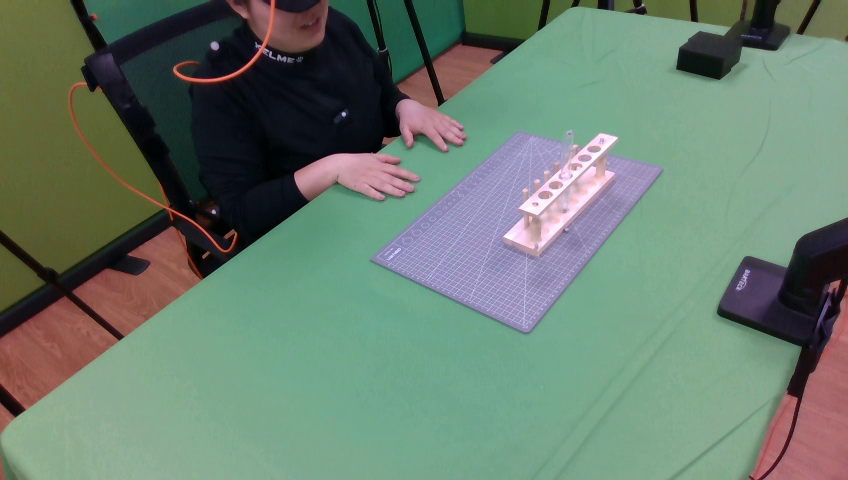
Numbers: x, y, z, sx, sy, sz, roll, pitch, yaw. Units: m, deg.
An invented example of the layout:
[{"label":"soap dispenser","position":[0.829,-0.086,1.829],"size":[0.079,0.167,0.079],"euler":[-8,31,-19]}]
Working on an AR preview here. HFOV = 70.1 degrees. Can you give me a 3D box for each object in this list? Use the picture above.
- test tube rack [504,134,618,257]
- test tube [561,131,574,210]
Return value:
[{"label":"test tube rack","position":[0.225,-0.083,0.985],"size":[0.066,0.085,0.243],"euler":[25,51,34]},{"label":"test tube","position":[0.220,-0.103,0.933],"size":[0.017,0.151,0.017],"euler":[-5,45,6]}]
